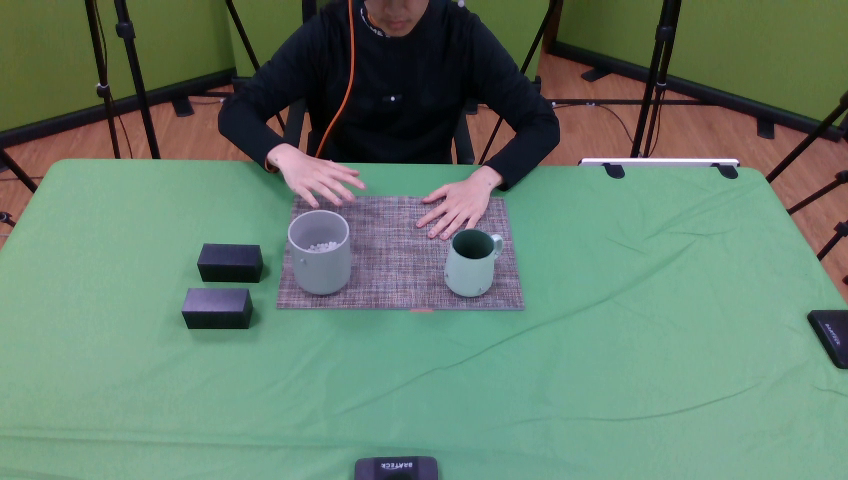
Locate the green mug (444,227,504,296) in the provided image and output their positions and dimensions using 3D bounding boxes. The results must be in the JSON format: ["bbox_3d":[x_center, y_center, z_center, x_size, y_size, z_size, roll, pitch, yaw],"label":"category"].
[{"bbox_3d":[0.097,0.033,1.110,0.125,0.105,0.092,-31,55,-29],"label":"green mug"}]

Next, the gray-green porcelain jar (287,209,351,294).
[{"bbox_3d":[-0.184,0.026,1.080,0.106,0.127,0.105,2,47,-2],"label":"gray-green porcelain jar"}]
